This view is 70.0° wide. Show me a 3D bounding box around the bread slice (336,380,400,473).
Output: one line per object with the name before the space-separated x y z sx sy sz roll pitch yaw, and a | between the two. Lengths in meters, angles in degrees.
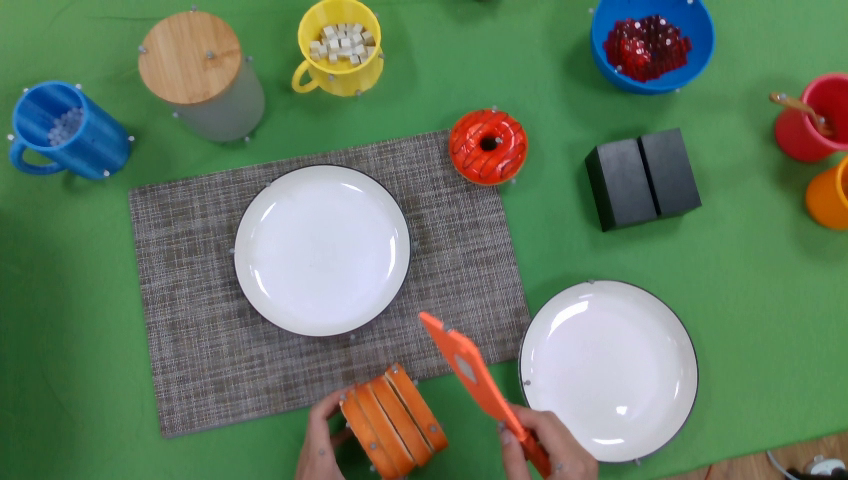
bread slice | -0.060 0.200 0.648 0.019 0.132 0.104 -33 83 -9

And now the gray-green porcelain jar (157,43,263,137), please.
gray-green porcelain jar | -0.252 -0.186 0.711 0.106 0.127 0.105 0 80 -1

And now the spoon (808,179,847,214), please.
spoon | 0.556 -0.076 0.705 0.022 0.193 0.041 0 72 -46

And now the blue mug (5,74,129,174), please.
blue mug | -0.422 -0.122 0.705 0.116 0.106 0.082 -37 83 -7

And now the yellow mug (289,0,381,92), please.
yellow mug | -0.117 -0.235 0.754 0.131 0.064 0.099 -43 84 -7

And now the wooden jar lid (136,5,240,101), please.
wooden jar lid | -0.250 -0.198 0.650 0.108 0.021 0.108 0 78 -1

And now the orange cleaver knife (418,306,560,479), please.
orange cleaver knife | 0.059 0.139 0.536 0.012 0.076 0.213 -43 118 -20

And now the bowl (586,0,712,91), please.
bowl | 0.270 -0.248 0.761 0.151 0.077 0.151 0 80 -1

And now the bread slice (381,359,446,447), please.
bread slice | -0.013 0.177 0.650 0.018 0.134 0.106 -32 84 -13

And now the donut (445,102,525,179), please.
donut | 0.075 -0.123 0.747 0.099 0.048 0.098 0 81 -2

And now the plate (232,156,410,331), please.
plate | -0.120 0.005 0.723 0.208 0.039 0.207 0 81 -1

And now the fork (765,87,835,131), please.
fork | 0.448 -0.156 0.716 0.209 0.018 0.028 4 77 -43

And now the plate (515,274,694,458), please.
plate | 0.208 0.145 0.713 0.209 0.038 0.208 0 80 -1
